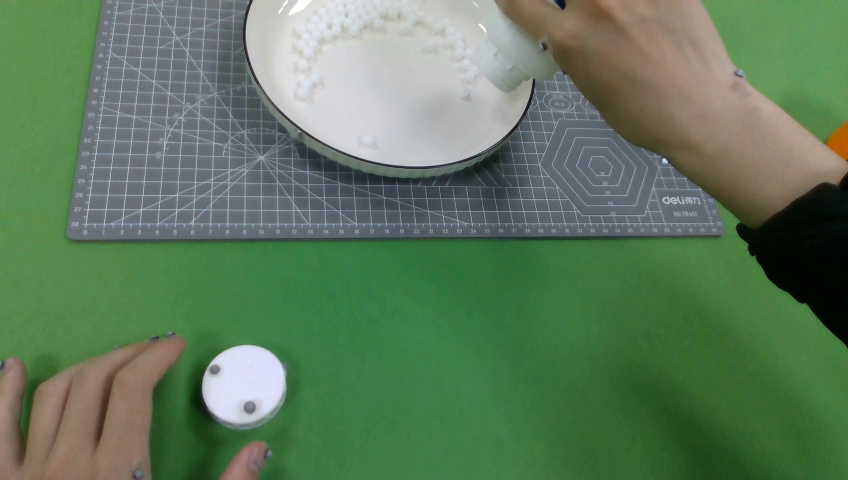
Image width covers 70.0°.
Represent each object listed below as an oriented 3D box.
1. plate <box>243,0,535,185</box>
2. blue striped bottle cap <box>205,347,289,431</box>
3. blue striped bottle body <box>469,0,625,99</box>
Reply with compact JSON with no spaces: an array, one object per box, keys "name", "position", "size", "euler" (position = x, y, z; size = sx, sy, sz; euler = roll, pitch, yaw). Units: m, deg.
[{"name":"plate","position":[-0.023,-0.125,0.442],"size":[0.208,0.039,0.206],"euler":[6,63,-10]},{"name":"blue striped bottle cap","position":[-0.098,0.082,0.337],"size":[0.045,0.021,0.044],"euler":[4,67,-9]},{"name":"blue striped bottle body","position":[0.083,-0.149,0.395],"size":[0.063,0.121,0.062],"euler":[32,31,-22]}]
